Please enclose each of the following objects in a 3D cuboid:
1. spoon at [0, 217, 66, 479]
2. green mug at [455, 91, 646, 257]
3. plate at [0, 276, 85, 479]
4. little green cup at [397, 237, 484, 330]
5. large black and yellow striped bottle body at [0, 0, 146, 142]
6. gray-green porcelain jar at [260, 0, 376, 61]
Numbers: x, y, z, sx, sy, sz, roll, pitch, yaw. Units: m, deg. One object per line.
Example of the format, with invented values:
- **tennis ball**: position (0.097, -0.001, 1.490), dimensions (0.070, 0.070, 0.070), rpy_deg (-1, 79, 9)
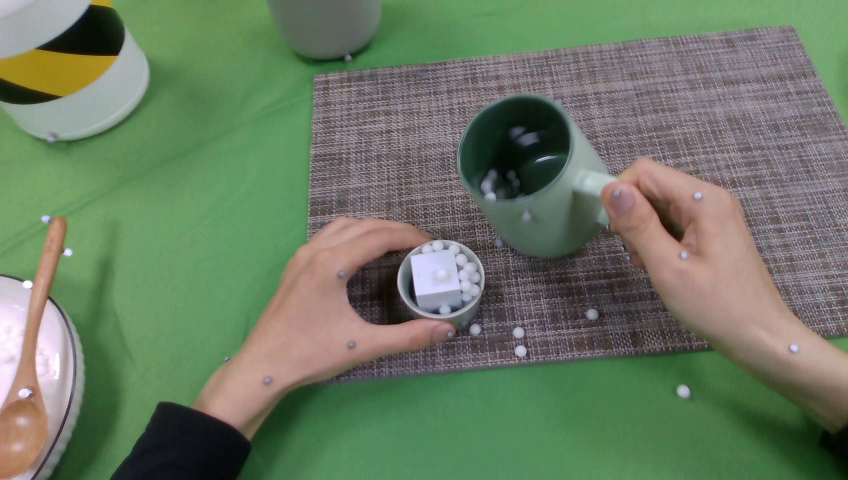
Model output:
- **spoon**: position (-0.275, 0.069, 0.427), dimensions (0.041, 0.022, 0.192), rpy_deg (-4, 69, 2)
- **green mug**: position (0.090, -0.038, 0.417), dimensions (0.124, 0.106, 0.092), rpy_deg (22, 82, 30)
- **plate**: position (-0.334, 0.124, 0.419), dimensions (0.209, 0.038, 0.207), rpy_deg (-2, 60, 4)
- **little green cup**: position (0.012, 0.034, 0.433), dimensions (0.061, 0.039, 0.061), rpy_deg (-1, 58, 2)
- **large black and yellow striped bottle body**: position (-0.338, -0.186, 0.508), dimensions (0.131, 0.185, 0.129), rpy_deg (-2, 61, 4)
- **gray-green porcelain jar**: position (-0.101, -0.238, 0.552), dimensions (0.106, 0.127, 0.105), rpy_deg (-2, 60, 4)
